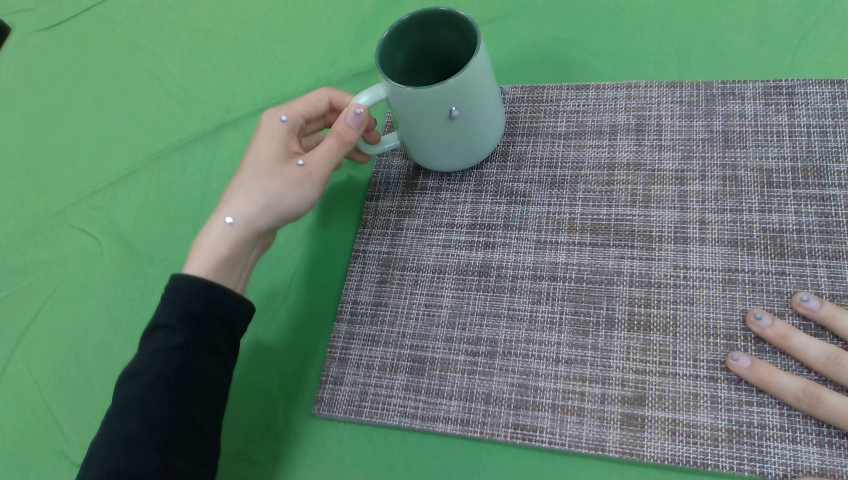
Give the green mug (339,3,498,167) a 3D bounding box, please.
[{"bbox_3d":[-0.007,-0.110,0.478,0.125,0.106,0.091,-27,61,0],"label":"green mug"}]
